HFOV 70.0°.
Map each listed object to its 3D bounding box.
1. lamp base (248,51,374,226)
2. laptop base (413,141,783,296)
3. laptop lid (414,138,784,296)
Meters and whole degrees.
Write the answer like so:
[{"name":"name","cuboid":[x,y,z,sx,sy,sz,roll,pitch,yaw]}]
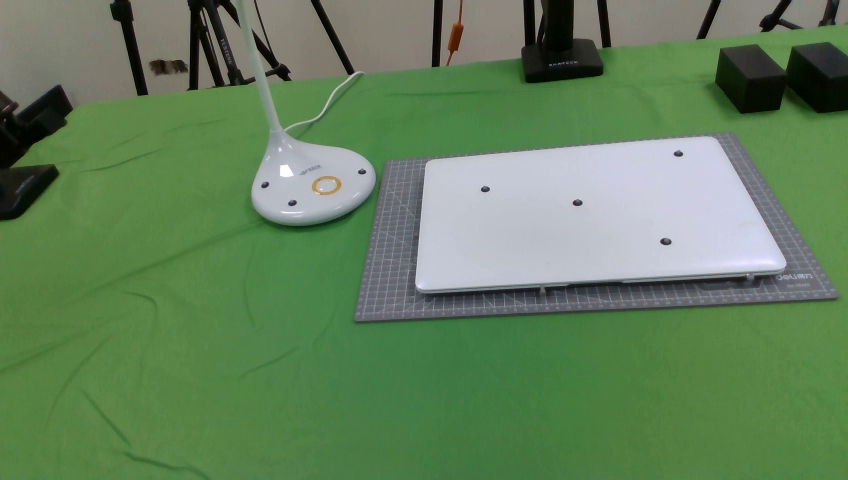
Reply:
[{"name":"lamp base","cuboid":[-0.162,-0.133,0.739,0.177,0.182,0.160,24,49,38]},{"name":"laptop base","cuboid":[0.170,-0.027,0.672,0.354,0.023,0.233,-4,42,7]},{"name":"laptop lid","cuboid":[0.168,-0.034,0.662,0.356,0.013,0.239,-3,41,8]}]
